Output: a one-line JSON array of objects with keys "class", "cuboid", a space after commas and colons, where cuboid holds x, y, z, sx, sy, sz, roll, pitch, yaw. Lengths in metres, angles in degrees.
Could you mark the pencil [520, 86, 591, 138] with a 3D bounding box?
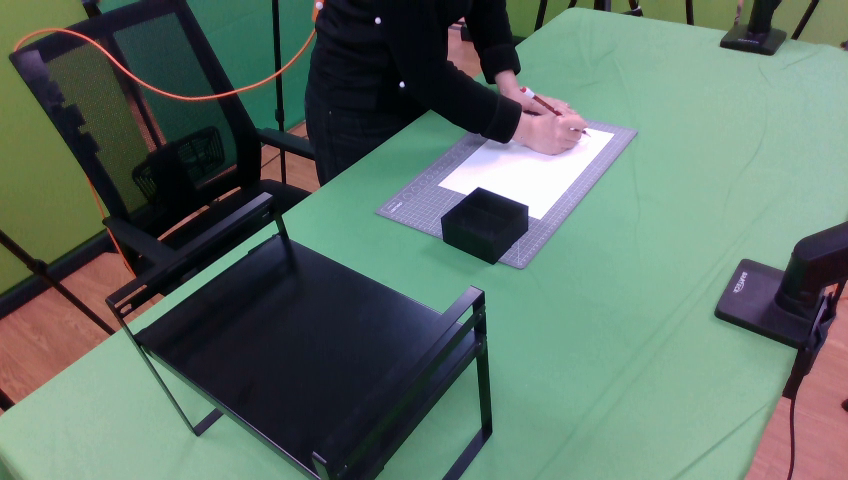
[{"class": "pencil", "cuboid": [0.246, -0.233, 1.113, 0.196, 0.012, 0.012, 25, 28, -31]}]
